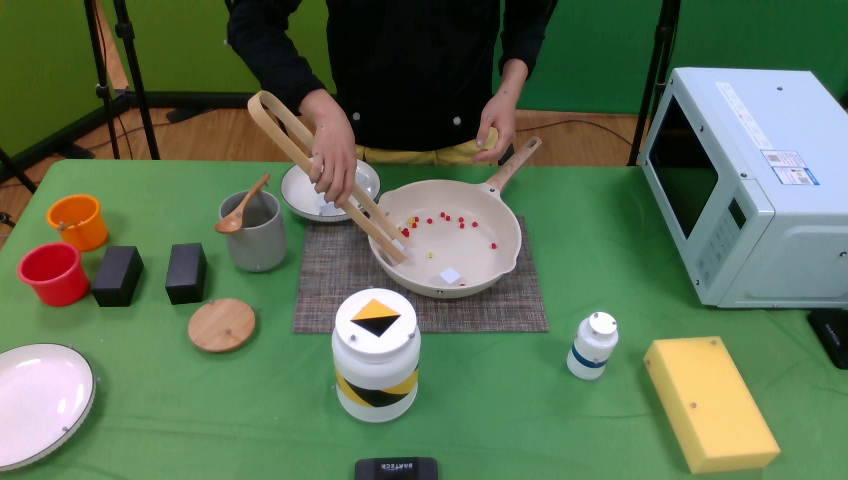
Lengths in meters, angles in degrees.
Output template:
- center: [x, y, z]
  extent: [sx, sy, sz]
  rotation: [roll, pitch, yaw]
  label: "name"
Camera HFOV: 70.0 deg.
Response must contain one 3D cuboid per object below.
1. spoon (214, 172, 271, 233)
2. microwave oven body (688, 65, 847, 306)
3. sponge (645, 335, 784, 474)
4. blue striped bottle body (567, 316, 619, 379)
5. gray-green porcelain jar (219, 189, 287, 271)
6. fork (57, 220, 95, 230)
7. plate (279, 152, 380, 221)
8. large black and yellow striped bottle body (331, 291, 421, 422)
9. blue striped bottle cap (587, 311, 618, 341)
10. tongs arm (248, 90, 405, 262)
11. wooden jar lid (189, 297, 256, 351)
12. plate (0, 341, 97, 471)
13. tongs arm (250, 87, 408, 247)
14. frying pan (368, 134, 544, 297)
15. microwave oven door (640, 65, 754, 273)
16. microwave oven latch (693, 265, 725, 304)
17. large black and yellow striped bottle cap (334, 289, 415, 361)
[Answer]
- center: [-0.312, -0.070, 1.070]
  extent: [0.041, 0.022, 0.193]
  rotation: [10, 43, 10]
  label: "spoon"
- center: [0.669, -0.111, 1.176]
  extent: [0.326, 0.261, 0.439]
  rotation: [0, 46, -3]
  label: "microwave oven body"
- center: [0.449, 0.253, 0.956]
  extent: [0.118, 0.061, 0.205]
  rotation: [-4, 46, -7]
  label: "sponge"
- center: [0.276, 0.168, 0.984]
  extent: [0.063, 0.121, 0.062]
  rotation: [2, 46, -2]
  label: "blue striped bottle body"
- center: [-0.309, -0.014, 1.114]
  extent: [0.106, 0.127, 0.105]
  rotation: [2, 46, -2]
  label: "gray-green porcelain jar"
- center: [-0.624, -0.027, 1.086]
  extent: [0.028, 0.207, 0.018]
  rotation: [-3, 92, -17]
  label: "fork"
- center: [-0.197, -0.107, 1.269]
  extent: [0.208, 0.039, 0.206]
  rotation: [2, 45, -2]
  label: "plate"
- center: [-0.071, 0.175, 0.911]
  extent: [0.131, 0.185, 0.130]
  rotation: [2, 47, -2]
  label: "large black and yellow striped bottle body"
- center: [0.279, 0.134, 0.946]
  extent: [0.044, 0.021, 0.044]
  rotation: [2, 45, -2]
  label: "blue striped bottle cap"
- center: [-0.158, -0.095, 1.041]
  extent: [0.028, 0.389, 0.028]
  rotation: [-24, 31, 30]
  label: "tongs arm"
- center: [-0.342, 0.145, 1.033]
  extent: [0.108, 0.021, 0.107]
  rotation: [2, 45, -2]
  label: "wooden jar lid"
- center: [-0.599, 0.247, 0.904]
  extent: [0.209, 0.038, 0.208]
  rotation: [2, 47, -2]
  label: "plate"
- center: [-0.155, -0.114, 1.064]
  extent: [0.026, 0.386, 0.050]
  rotation: [-26, 28, 27]
  label: "tongs arm"
- center: [0.104, -0.069, 1.205]
  extent: [0.305, 0.103, 0.487]
  rotation: [32, 61, 23]
  label: "frying pan"
- center: [0.523, -0.147, 1.193]
  extent: [0.039, 0.245, 0.353]
  rotation: [0, 47, -3]
  label: "microwave oven door"
- center: [0.523, 0.081, 1.116]
  extent: [0.030, 0.029, 0.078]
  rotation: [2, 46, -1]
  label: "microwave oven latch"
- center: [-0.069, 0.117, 0.850]
  extent: [0.115, 0.019, 0.114]
  rotation: [2, 45, -2]
  label: "large black and yellow striped bottle cap"
